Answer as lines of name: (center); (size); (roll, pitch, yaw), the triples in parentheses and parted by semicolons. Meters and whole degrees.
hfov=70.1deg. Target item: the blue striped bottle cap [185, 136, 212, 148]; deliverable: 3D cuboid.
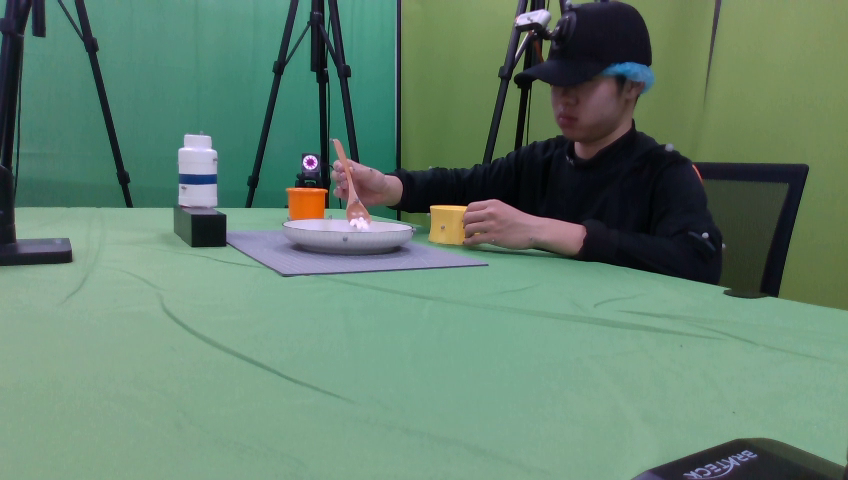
blue striped bottle cap: (-0.390, -0.169, 1.047); (0.044, 0.020, 0.044); (4, 10, 0)

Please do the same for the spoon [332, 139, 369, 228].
spoon: (-0.130, -0.100, 1.033); (0.042, 0.193, 0.021); (-4, -28, -24)

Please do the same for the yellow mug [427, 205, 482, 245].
yellow mug: (0.062, -0.028, 1.111); (0.100, 0.064, 0.130); (0, 8, -21)

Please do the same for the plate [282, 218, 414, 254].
plate: (-0.121, -0.007, 0.971); (0.208, 0.039, 0.207); (2, 7, 0)

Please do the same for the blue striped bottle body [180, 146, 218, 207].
blue striped bottle body: (-0.392, -0.119, 1.053); (0.063, 0.120, 0.063); (2, 7, 0)
